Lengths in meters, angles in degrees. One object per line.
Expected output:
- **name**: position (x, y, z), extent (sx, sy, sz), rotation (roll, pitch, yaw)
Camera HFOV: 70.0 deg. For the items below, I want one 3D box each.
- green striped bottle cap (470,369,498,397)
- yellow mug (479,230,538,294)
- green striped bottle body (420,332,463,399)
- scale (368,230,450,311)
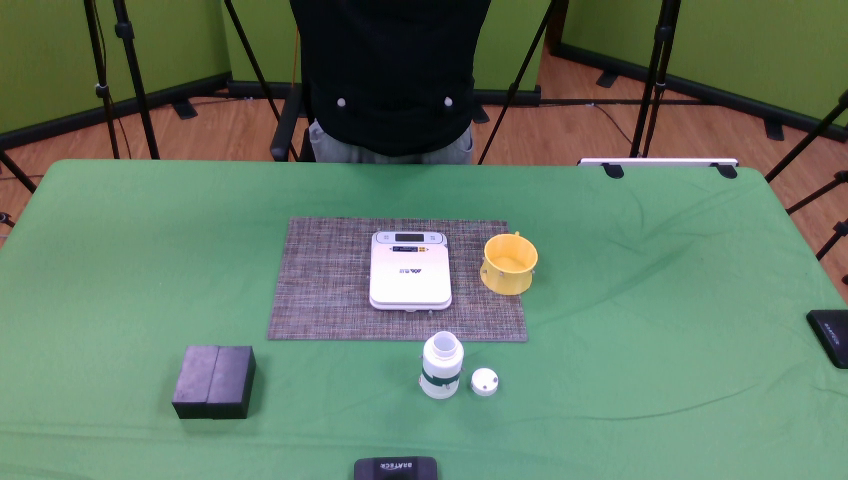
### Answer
- **green striped bottle cap**: position (0.098, 0.232, 0.989), extent (0.044, 0.020, 0.044), rotation (2, 41, -1)
- **yellow mug**: position (0.161, 0.033, 1.143), extent (0.100, 0.064, 0.130), rotation (14, 46, 9)
- **green striped bottle body**: position (0.027, 0.193, 0.948), extent (0.063, 0.120, 0.063), rotation (2, 47, -2)
- **scale**: position (-0.029, 0.048, 1.137), extent (0.149, 0.032, 0.199), rotation (1, 46, -4)
